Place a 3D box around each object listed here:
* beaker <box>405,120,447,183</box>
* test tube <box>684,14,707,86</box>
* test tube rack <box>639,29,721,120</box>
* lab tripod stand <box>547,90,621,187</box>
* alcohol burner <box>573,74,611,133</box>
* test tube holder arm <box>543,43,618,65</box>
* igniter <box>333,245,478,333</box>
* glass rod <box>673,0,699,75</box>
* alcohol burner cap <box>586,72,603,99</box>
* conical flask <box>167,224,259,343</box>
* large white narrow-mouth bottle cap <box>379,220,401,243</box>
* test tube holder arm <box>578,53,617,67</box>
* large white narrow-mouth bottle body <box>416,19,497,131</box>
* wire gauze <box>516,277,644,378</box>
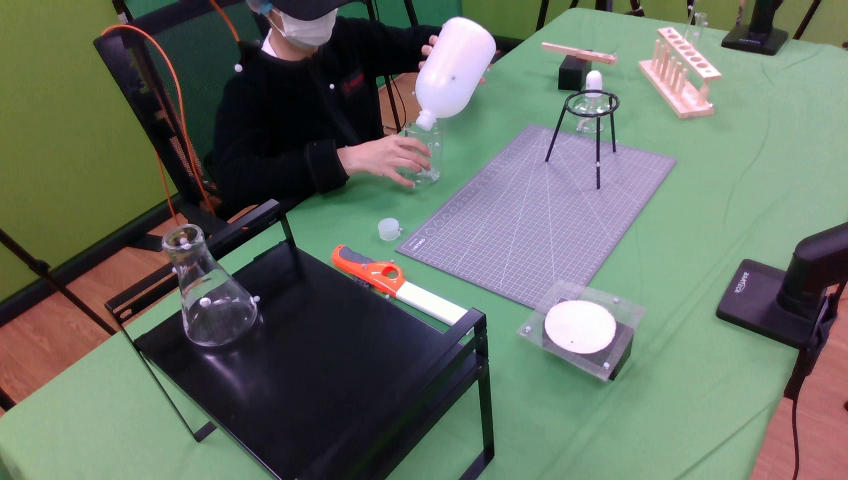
[{"bbox_3d":[0.004,-0.162,1.107,0.073,0.100,0.084,21,35,27],"label":"beaker"},{"bbox_3d":[0.541,-0.379,1.216,0.017,0.151,0.017,-2,44,2],"label":"test tube"},{"bbox_3d":[0.527,-0.351,1.262,0.067,0.085,0.241,-8,40,1],"label":"test tube rack"},{"bbox_3d":[0.289,-0.184,1.062,0.148,0.132,0.147,-6,41,6],"label":"lab tripod stand"},{"bbox_3d":[0.330,-0.270,1.176,0.078,0.119,0.077,-4,43,4],"label":"alcohol burner"},{"bbox_3d":[0.345,-0.413,1.340,0.177,0.015,0.013,25,50,31],"label":"test tube holder arm"},{"bbox_3d":[-0.038,0.068,0.905,0.274,0.025,0.057,24,60,32],"label":"igniter"},{"bbox_3d":[0.541,-0.427,1.246,0.008,0.200,0.008,0,48,1],"label":"glass rod"},{"bbox_3d":[0.325,-0.297,1.154,0.034,0.048,0.033,-8,35,6],"label":"alcohol burner cap"},{"bbox_3d":[-0.220,0.041,0.613,0.075,0.122,0.075,-5,40,4],"label":"conical flask"},{"bbox_3d":[-0.057,-0.015,1.012,0.038,0.024,0.037,-4,40,4],"label":"large white narrow-mouth bottle cap"},{"bbox_3d":[0.376,-0.393,1.314,0.087,0.015,0.010,26,51,32],"label":"test tube holder arm"},{"bbox_3d":[0.045,-0.285,1.081,0.101,0.102,0.194,28,88,35],"label":"large white narrow-mouth bottle body"},{"bbox_3d":[0.197,0.103,0.765,0.124,0.011,0.122,23,50,31],"label":"wire gauze"}]
